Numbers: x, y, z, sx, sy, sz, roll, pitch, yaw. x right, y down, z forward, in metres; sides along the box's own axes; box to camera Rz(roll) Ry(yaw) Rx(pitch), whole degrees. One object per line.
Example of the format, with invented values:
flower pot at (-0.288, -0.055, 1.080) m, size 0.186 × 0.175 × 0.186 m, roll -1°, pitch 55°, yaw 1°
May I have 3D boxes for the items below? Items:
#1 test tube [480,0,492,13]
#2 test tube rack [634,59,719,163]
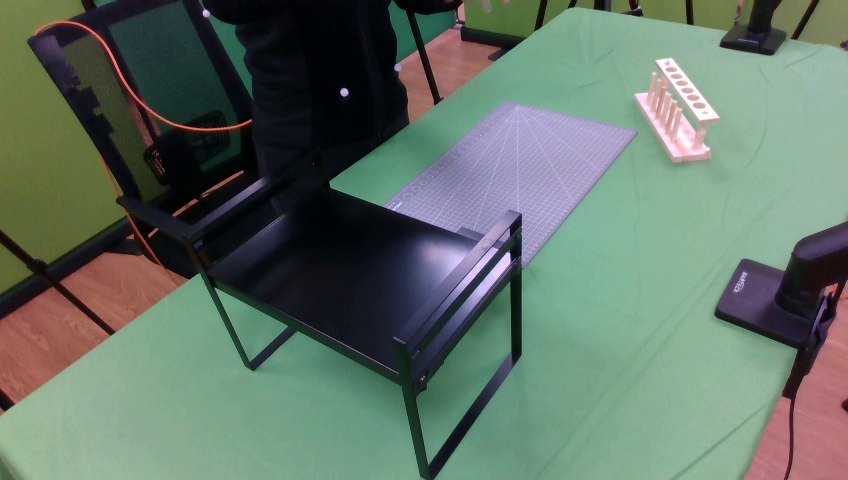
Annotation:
test tube at (0.086, -0.402, 0.942) m, size 0.017 × 0.151 × 0.017 m, roll -4°, pitch 76°, yaw 16°
test tube rack at (0.470, -0.251, 1.148) m, size 0.067 × 0.085 × 0.241 m, roll -6°, pitch 40°, yaw 3°
